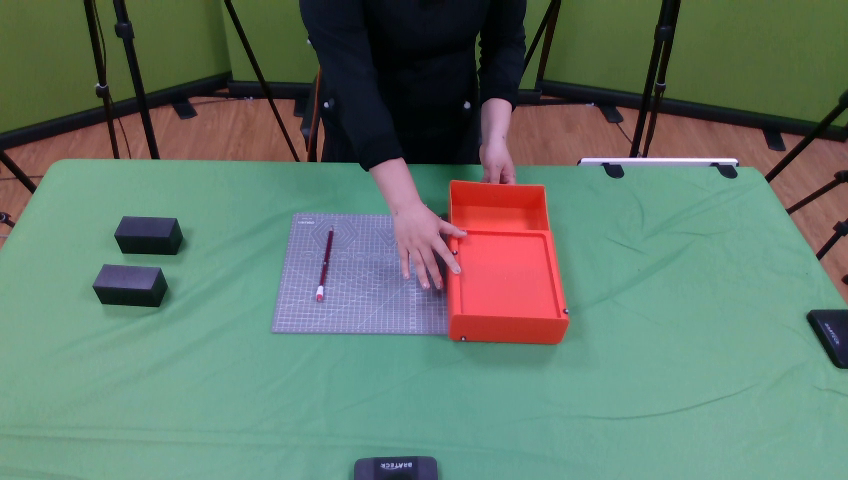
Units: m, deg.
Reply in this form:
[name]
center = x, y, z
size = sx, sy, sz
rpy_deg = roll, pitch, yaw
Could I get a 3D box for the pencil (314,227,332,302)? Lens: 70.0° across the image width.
[pencil]
center = -0.189, 0.041, 1.148
size = 0.012, 0.012, 0.193
rpy_deg = 3, 44, -1

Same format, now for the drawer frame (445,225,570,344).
[drawer frame]
center = 0.141, 0.076, 1.089
size = 0.202, 0.083, 0.212
rpy_deg = 3, 46, -3

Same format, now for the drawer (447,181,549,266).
[drawer]
center = 0.143, -0.015, 1.174
size = 0.194, 0.073, 0.210
rpy_deg = 3, 49, -1
